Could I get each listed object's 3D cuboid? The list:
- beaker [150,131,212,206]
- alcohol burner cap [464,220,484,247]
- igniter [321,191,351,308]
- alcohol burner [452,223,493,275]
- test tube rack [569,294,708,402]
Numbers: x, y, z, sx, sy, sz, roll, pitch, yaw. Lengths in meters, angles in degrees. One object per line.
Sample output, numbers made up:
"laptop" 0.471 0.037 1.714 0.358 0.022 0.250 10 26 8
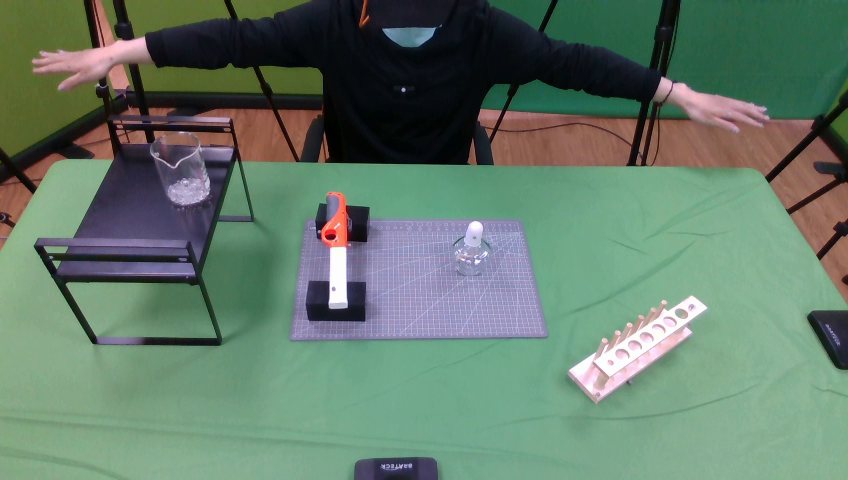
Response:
"beaker" -0.385 -0.110 0.969 0.074 0.101 0.083 -6 48 -9
"alcohol burner cap" 0.092 -0.015 1.098 0.034 0.048 0.033 5 44 -4
"igniter" -0.159 0.008 1.101 0.057 0.025 0.274 -2 48 -7
"alcohol burner" 0.091 0.008 1.124 0.078 0.119 0.077 2 48 -2
"test tube rack" 0.360 0.167 1.014 0.242 0.085 0.066 -25 53 -25
